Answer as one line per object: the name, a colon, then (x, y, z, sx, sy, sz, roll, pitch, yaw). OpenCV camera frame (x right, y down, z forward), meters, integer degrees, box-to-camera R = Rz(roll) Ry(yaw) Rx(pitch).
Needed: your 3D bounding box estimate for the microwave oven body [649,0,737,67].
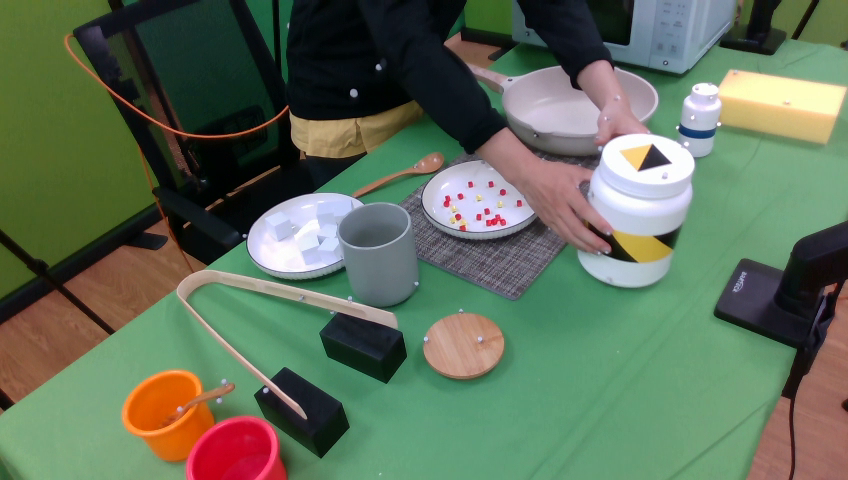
microwave oven body: (0.475, -0.602, 1.411, 0.438, 0.261, 0.327, 23, 50, 32)

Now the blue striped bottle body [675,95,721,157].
blue striped bottle body: (0.486, -0.213, 1.071, 0.063, 0.121, 0.063, -4, 41, 4)

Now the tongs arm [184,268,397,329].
tongs arm: (-0.203, 0.084, 0.847, 0.382, 0.027, 0.051, 11, 44, 35)

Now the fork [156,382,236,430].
fork: (-0.262, 0.189, 0.690, 0.018, 0.206, 0.028, 49, 43, -7)

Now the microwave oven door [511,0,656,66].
microwave oven door: (0.351, -0.540, 1.349, 0.353, 0.245, 0.039, 24, 50, 31)

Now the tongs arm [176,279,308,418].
tongs arm: (-0.255, 0.132, 0.801, 0.028, 0.028, 0.384, -40, 40, -23)

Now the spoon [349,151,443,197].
spoon: (-0.051, -0.122, 1.120, 0.194, 0.022, 0.041, -22, 60, -18)

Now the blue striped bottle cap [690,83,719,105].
blue striped bottle cap: (0.481, -0.251, 1.038, 0.044, 0.021, 0.044, -5, 40, 5)

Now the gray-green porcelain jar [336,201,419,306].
gray-green porcelain jar: (-0.064, 0.024, 0.872, 0.106, 0.127, 0.105, -4, 41, 4)

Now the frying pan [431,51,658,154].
frying pan: (0.216, -0.303, 1.223, 0.484, 0.103, 0.308, 29, 50, 24)

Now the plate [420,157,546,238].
plate: (0.100, -0.068, 1.017, 0.209, 0.038, 0.208, -4, 40, 4)

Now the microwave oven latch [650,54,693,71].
microwave oven latch: (0.531, -0.386, 1.301, 0.078, 0.029, 0.030, 26, 51, 33)

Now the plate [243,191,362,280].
plate: (-0.188, -0.005, 0.992, 0.207, 0.039, 0.206, -4, 40, 4)

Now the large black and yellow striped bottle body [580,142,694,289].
large black and yellow striped bottle body: (0.294, -0.036, 0.840, 0.131, 0.184, 0.130, -1, 42, 2)

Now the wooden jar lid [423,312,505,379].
wooden jar lid: (0.053, 0.142, 0.800, 0.108, 0.021, 0.108, -5, 39, 4)

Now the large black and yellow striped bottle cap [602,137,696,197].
large black and yellow striped bottle cap: (0.290, -0.097, 0.783, 0.115, 0.019, 0.114, -2, 41, 2)

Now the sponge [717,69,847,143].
sponge: (0.663, -0.256, 1.141, 0.205, 0.061, 0.118, 19, 47, 28)
